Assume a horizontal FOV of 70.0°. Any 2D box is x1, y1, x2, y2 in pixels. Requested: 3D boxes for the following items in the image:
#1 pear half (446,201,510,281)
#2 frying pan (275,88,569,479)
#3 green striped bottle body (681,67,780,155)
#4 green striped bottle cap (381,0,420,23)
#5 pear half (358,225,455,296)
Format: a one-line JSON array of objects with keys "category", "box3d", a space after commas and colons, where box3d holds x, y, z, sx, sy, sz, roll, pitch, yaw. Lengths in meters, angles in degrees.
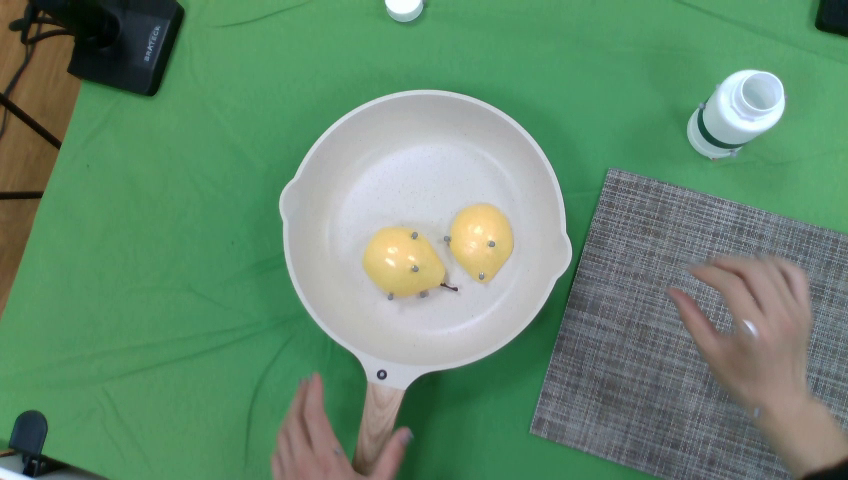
[{"category": "pear half", "box3d": [0.058, -0.001, 0.659, 0.070, 0.031, 0.087, -5, 79, 9]}, {"category": "frying pan", "box3d": [-0.027, 0.086, 0.623, 0.306, 0.103, 0.486, 12, 77, 7]}, {"category": "green striped bottle body", "box3d": [0.308, -0.130, 0.608, 0.063, 0.119, 0.063, -1, 83, 6]}, {"category": "green striped bottle cap", "box3d": [-0.027, -0.278, 0.707, 0.044, 0.020, 0.044, -1, 82, 6]}, {"category": "pear half", "box3d": [-0.016, 0.028, 0.652, 0.110, 0.056, 0.076, 23, 92, 4]}]
